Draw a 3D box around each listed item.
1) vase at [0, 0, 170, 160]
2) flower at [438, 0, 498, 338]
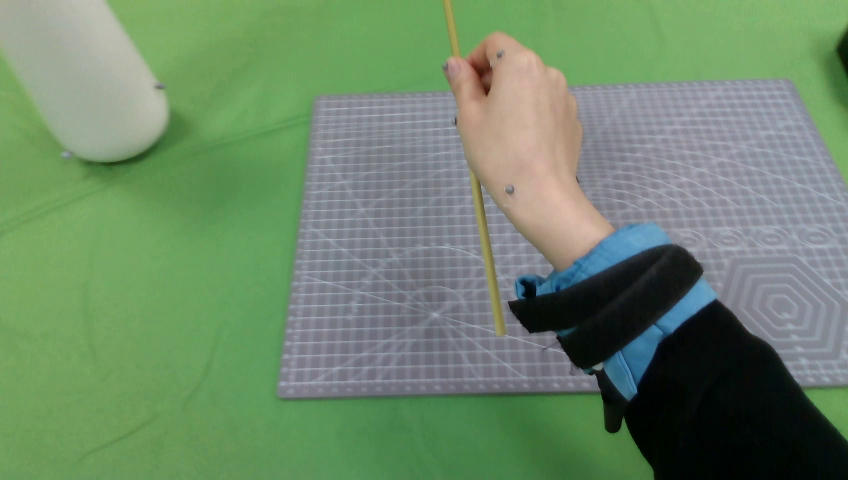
[{"bbox_3d":[-0.280,-0.157,0.480,0.098,0.202,0.097,-1,54,1],"label":"vase"},{"bbox_3d":[0.018,-0.117,0.385,0.038,0.044,0.361,-7,86,-29],"label":"flower"}]
